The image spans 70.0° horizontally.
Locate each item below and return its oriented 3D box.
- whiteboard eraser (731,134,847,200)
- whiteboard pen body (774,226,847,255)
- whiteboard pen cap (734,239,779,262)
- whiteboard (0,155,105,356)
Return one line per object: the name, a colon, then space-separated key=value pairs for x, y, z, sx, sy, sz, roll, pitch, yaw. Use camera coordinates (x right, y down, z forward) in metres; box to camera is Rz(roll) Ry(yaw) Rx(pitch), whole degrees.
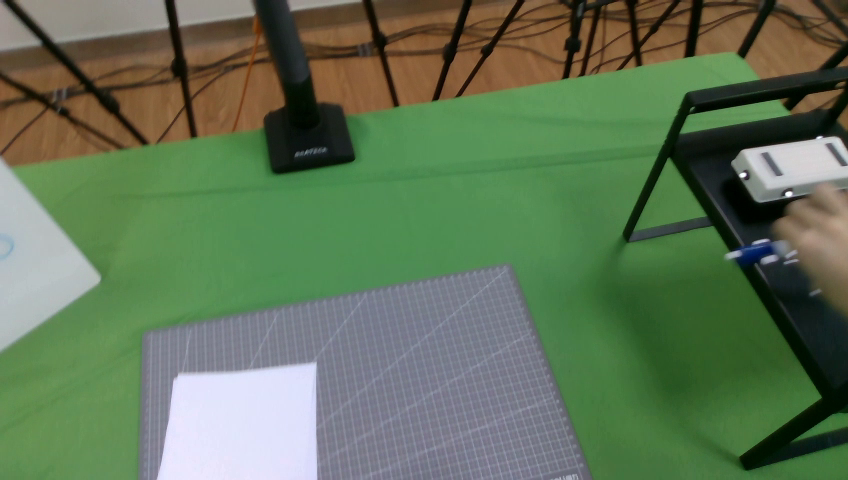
whiteboard eraser: x=0.371 y=-0.071 z=0.606 sx=0.113 sy=0.042 sz=0.055 roll=-10 pitch=54 yaw=-8
whiteboard pen body: x=0.349 y=-0.001 z=0.521 sx=0.140 sy=0.017 sz=0.017 roll=-10 pitch=54 yaw=6
whiteboard pen cap: x=0.290 y=0.008 z=0.527 sx=0.033 sy=0.018 sz=0.018 roll=-12 pitch=55 yaw=7
whiteboard: x=-0.549 y=-0.019 z=0.648 sx=0.142 sy=0.308 sz=0.217 roll=26 pitch=57 yaw=39
